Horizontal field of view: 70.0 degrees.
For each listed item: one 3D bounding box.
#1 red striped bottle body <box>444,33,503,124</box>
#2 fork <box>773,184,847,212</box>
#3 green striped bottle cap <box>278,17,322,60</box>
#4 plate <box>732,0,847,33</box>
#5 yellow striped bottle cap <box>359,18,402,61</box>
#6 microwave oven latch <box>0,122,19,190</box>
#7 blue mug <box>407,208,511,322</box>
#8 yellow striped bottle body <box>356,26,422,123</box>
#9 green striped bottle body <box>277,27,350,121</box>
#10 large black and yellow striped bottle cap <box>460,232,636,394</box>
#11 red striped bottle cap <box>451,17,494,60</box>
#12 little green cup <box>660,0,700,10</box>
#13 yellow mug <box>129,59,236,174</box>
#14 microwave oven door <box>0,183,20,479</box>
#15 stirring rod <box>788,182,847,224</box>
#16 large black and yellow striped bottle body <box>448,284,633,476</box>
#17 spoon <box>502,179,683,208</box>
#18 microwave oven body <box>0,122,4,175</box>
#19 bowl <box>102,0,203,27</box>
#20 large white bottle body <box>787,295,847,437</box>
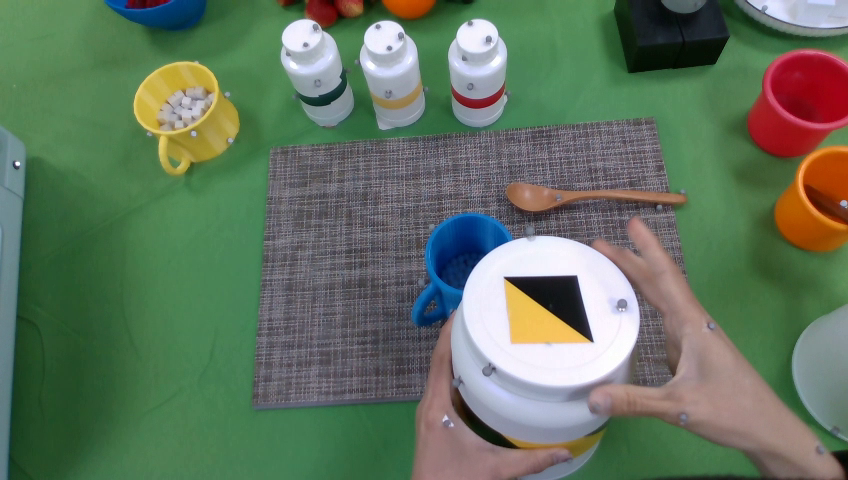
[{"bbox_3d":[0.055,-0.187,0.670,0.063,0.120,0.062,-2,67,5],"label":"red striped bottle body"},{"bbox_3d":[0.421,-0.024,0.556,0.028,0.019,0.205,-30,24,-15],"label":"fork"},{"bbox_3d":[-0.131,-0.213,0.640,0.044,0.020,0.044,-2,67,5],"label":"green striped bottle cap"},{"bbox_3d":[0.458,-0.332,0.735,0.209,0.038,0.207,-2,69,4],"label":"plate"},{"bbox_3d":[-0.045,-0.209,0.630,0.044,0.019,0.044,0,65,1],"label":"yellow striped bottle cap"},{"bbox_3d":[-0.494,-0.095,0.705,0.030,0.030,0.078,-11,69,0],"label":"microwave oven latch"},{"bbox_3d":[0.030,0.038,0.587,0.116,0.106,0.082,-39,70,-10],"label":"blue mug"},{"bbox_3d":[-0.039,-0.190,0.678,0.063,0.121,0.062,-2,67,5],"label":"yellow striped bottle body"},{"bbox_3d":[-0.126,-0.194,0.688,0.063,0.120,0.062,-2,68,4],"label":"green striped bottle body"},{"bbox_3d":[0.081,0.045,0.400,0.115,0.019,0.114,-2,54,3],"label":"large black and yellow striped bottle cap"},{"bbox_3d":[0.050,-0.207,0.621,0.044,0.018,0.044,0,67,1],"label":"red striped bottle cap"},{"bbox_3d":[0.291,-0.292,0.679,0.061,0.039,0.061,-1,66,3],"label":"little green cup"},{"bbox_3d":[-0.285,-0.139,0.710,0.100,0.064,0.130,5,70,7],"label":"yellow mug"},{"bbox_3d":[-0.461,0.066,0.530,0.039,0.245,0.353,-13,68,1],"label":"microwave oven door"},{"bbox_3d":[0.392,-0.024,0.567,0.014,0.006,0.175,-1,25,2],"label":"stirring rod"},{"bbox_3d":[0.084,0.094,0.468,0.131,0.185,0.129,-2,54,2],"label":"large black and yellow striped bottle body"},{"bbox_3d":[0.181,-0.051,0.653,0.193,0.022,0.041,0,47,5],"label":"spoon"},{"bbox_3d":[-0.611,0.061,0.550,0.326,0.262,0.438,-13,69,0],"label":"microwave oven body"},{"bbox_3d":[-0.339,-0.332,0.784,0.151,0.077,0.150,-2,68,4],"label":"bowl"},{"bbox_3d":[0.402,0.092,0.492,0.130,0.186,0.129,-2,68,5],"label":"large white bottle body"}]
